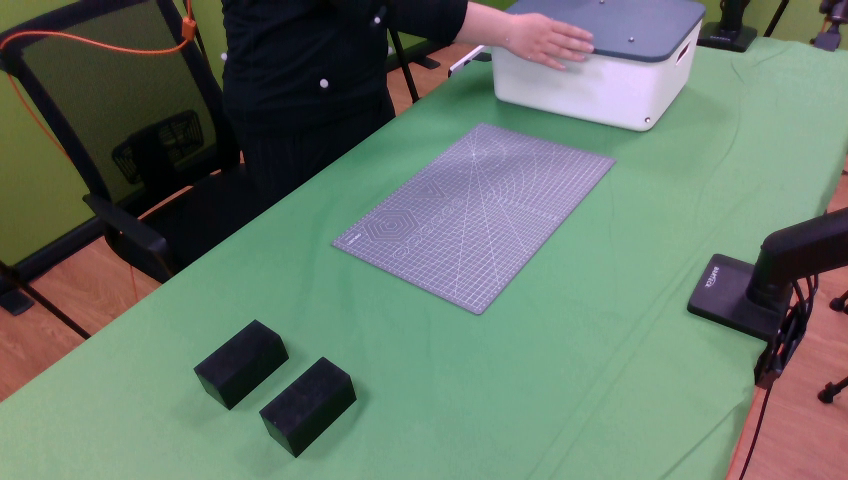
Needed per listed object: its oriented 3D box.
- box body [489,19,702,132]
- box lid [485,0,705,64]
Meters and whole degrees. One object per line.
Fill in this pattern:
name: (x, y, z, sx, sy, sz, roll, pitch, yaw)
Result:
box body: (0.346, -0.374, 1.251, 0.361, 0.161, 0.255, 21, 48, 29)
box lid: (0.336, -0.430, 1.194, 0.368, 0.015, 0.264, 21, 49, 29)
